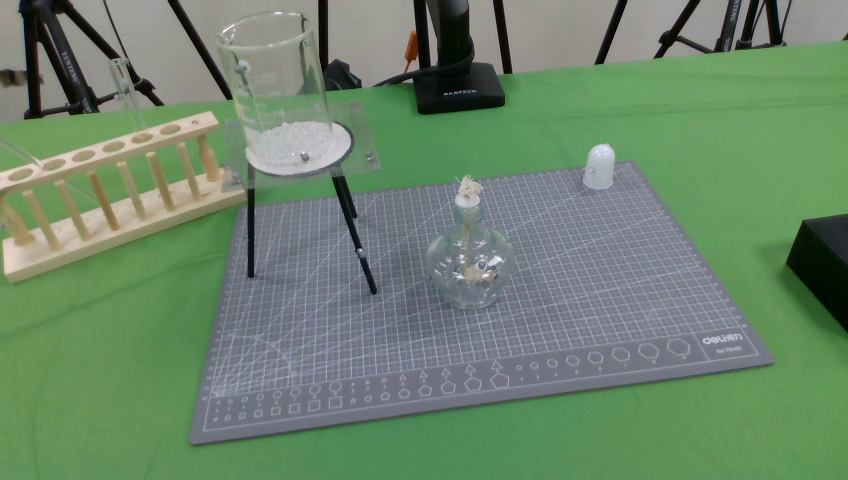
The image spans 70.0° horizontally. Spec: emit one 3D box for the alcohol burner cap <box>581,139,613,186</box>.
[{"bbox_3d":[0.188,-0.087,0.655,0.034,0.048,0.033,-2,40,2],"label":"alcohol burner cap"}]

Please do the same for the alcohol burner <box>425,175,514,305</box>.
[{"bbox_3d":[0.038,-0.003,0.515,0.078,0.120,0.077,-3,38,3],"label":"alcohol burner"}]

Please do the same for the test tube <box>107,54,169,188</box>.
[{"bbox_3d":[-0.296,-0.119,0.632,0.017,0.151,0.017,-2,37,2],"label":"test tube"}]

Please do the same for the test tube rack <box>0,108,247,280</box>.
[{"bbox_3d":[-0.322,-0.054,0.635,0.243,0.086,0.066,-23,44,-21],"label":"test tube rack"}]

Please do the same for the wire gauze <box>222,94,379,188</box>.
[{"bbox_3d":[-0.107,-0.084,0.507,0.125,0.011,0.120,-13,39,-5],"label":"wire gauze"}]

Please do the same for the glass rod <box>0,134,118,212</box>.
[{"bbox_3d":[-0.383,-0.081,0.586,0.008,0.202,0.008,-18,51,24],"label":"glass rod"}]

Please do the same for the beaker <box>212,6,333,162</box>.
[{"bbox_3d":[-0.116,-0.120,0.474,0.083,0.101,0.073,13,43,22],"label":"beaker"}]

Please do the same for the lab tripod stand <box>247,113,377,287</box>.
[{"bbox_3d":[-0.102,-0.034,0.549,0.148,0.133,0.147,-3,42,3],"label":"lab tripod stand"}]
